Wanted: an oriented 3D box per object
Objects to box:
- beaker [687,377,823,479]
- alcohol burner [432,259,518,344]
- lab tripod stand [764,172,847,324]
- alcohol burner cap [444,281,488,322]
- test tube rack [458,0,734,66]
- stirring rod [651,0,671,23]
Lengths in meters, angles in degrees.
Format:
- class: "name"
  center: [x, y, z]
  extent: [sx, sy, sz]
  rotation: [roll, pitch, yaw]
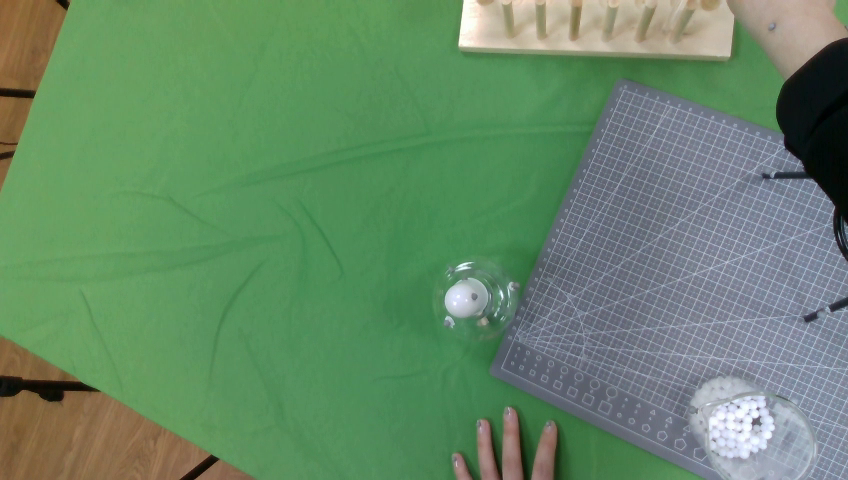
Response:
- class: "beaker"
  center: [0.250, 0.148, 0.478]
  extent: [0.083, 0.100, 0.074]
  rotation: [30, 94, 14]
- class: "alcohol burner"
  center: [0.042, 0.054, 0.526]
  extent: [0.078, 0.119, 0.077]
  rotation: [-1, 85, 12]
- class: "lab tripod stand"
  center: [0.328, -0.004, 0.448]
  extent: [0.148, 0.132, 0.148]
  rotation: [0, 89, 12]
- class: "alcohol burner cap"
  center: [0.033, 0.051, 0.492]
  extent: [0.034, 0.048, 0.034]
  rotation: [0, 90, 14]
- class: "test tube rack"
  center: [0.145, -0.202, 0.528]
  extent: [0.241, 0.085, 0.066]
  rotation: [6, 88, 13]
- class: "stirring rod"
  center: [0.206, -0.227, 0.439]
  extent: [0.006, 0.177, 0.014]
  rotation: [-18, 68, -16]
